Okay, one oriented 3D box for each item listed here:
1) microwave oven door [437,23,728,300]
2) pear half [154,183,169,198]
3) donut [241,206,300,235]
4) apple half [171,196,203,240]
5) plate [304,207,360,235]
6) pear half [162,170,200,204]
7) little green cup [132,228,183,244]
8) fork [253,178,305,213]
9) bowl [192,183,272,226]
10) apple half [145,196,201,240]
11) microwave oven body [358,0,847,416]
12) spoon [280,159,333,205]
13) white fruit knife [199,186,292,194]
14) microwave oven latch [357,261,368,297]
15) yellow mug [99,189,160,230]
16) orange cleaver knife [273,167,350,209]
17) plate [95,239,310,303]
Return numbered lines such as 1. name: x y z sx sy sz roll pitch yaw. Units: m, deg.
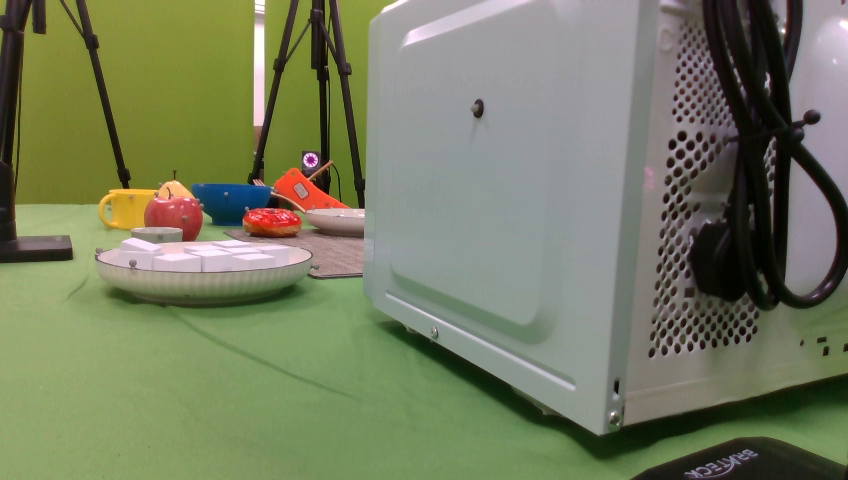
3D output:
1. microwave oven door: 0.180 -0.072 0.621 0.358 0.243 0.039 -2 8 -29
2. pear half: -0.435 -0.053 1.006 0.031 0.088 0.070 3 12 0
3. donut: -0.263 -0.032 1.039 0.099 0.048 0.099 4 9 0
4. apple half: -0.365 -0.033 0.928 0.081 0.081 0.033 5 12 18
5. plate: -0.123 -0.037 1.149 0.209 0.038 0.209 2 7 0
6. pear half: -0.399 -0.061 1.002 0.056 0.110 0.076 2 11 1
7. little green cup: -0.342 0.006 0.779 0.061 0.038 0.061 2 8 0
8. fork: -0.294 -0.084 1.293 0.206 0.018 0.028 29 13 26
9. bowl: -0.381 -0.070 1.202 0.151 0.077 0.151 3 7 0
10. apple half: -0.377 -0.027 0.891 0.080 0.074 0.053 8 12 18
11. microwave oven body: 0.211 -0.047 0.474 0.444 0.260 0.324 -1 7 -28
12. spoon: -0.316 -0.159 1.639 0.194 0.022 0.041 -49 31 -20
13. white fruit knife: -0.399 -0.111 1.368 0.208 0.016 0.027 -4 -20 -29
14. microwave oven latch: -0.019 0.033 0.531 0.079 0.029 0.030 -1 7 -27
15. yellow mug: -0.518 -0.055 1.080 0.099 0.064 0.131 7 10 26
16. orange cleaver knife: -0.237 -0.087 1.358 0.211 0.077 0.012 32 4 -3
17. plate: -0.224 0.031 0.629 0.208 0.039 0.207 2 7 0
